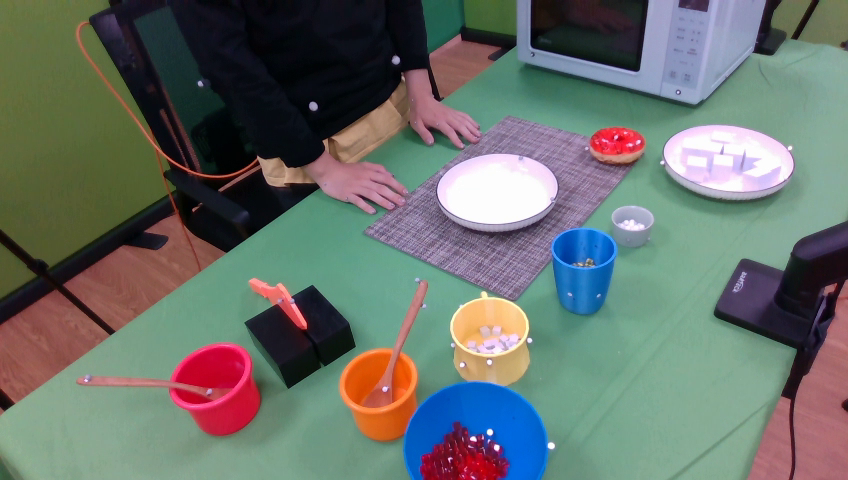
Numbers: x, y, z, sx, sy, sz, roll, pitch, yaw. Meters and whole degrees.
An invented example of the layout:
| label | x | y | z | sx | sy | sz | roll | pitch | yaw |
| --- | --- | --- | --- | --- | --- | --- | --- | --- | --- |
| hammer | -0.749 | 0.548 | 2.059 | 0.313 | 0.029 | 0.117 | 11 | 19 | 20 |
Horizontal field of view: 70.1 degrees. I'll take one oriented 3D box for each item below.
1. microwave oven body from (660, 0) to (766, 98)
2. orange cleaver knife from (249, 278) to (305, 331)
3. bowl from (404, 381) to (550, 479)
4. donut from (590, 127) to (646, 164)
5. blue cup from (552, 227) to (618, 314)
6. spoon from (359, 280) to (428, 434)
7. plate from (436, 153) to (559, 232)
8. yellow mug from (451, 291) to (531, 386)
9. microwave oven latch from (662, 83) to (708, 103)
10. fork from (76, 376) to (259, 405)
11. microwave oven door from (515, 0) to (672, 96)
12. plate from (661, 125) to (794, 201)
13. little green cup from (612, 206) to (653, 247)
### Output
| label | x | y | z | sx | sy | sz | roll | pitch | yaw |
| --- | --- | --- | --- | --- | --- | --- | --- | --- | --- |
| microwave oven body | 0.472 | -0.513 | 1.317 | 0.438 | 0.261 | 0.327 | 26 | 51 | 34 |
| orange cleaver knife | -0.210 | 0.088 | 0.855 | 0.012 | 0.077 | 0.210 | -28 | 15 | -25 |
| bowl | 0.058 | 0.235 | 0.645 | 0.151 | 0.077 | 0.150 | -4 | 39 | 4 |
| donut | 0.353 | -0.174 | 1.103 | 0.099 | 0.048 | 0.098 | -4 | 38 | 4 |
| blue cup | 0.218 | 0.047 | 0.825 | 0.092 | 0.100 | 0.092 | -6 | 40 | 5 |
| spoon | -0.032 | 0.138 | 0.719 | 0.041 | 0.193 | 0.022 | 22 | 4 | 30 |
| plate | 0.125 | -0.078 | 1.029 | 0.209 | 0.038 | 0.208 | -4 | 40 | 4 |
| yellow mug | 0.085 | 0.120 | 0.786 | 0.100 | 0.064 | 0.130 | -7 | 39 | 1 |
| microwave oven latch | 0.517 | -0.296 | 1.204 | 0.078 | 0.029 | 0.030 | 28 | 52 | 35 |
| fork | -0.295 | 0.176 | 0.716 | 0.209 | 0.018 | 0.028 | 19 | 27 | -37 |
| microwave oven door | 0.343 | -0.455 | 1.259 | 0.353 | 0.245 | 0.039 | 26 | 51 | 33 |
| plate | 0.513 | -0.128 | 1.035 | 0.207 | 0.039 | 0.206 | -4 | 40 | 4 |
| little green cup | 0.321 | -0.019 | 0.936 | 0.061 | 0.039 | 0.061 | -4 | 40 | 4 |
